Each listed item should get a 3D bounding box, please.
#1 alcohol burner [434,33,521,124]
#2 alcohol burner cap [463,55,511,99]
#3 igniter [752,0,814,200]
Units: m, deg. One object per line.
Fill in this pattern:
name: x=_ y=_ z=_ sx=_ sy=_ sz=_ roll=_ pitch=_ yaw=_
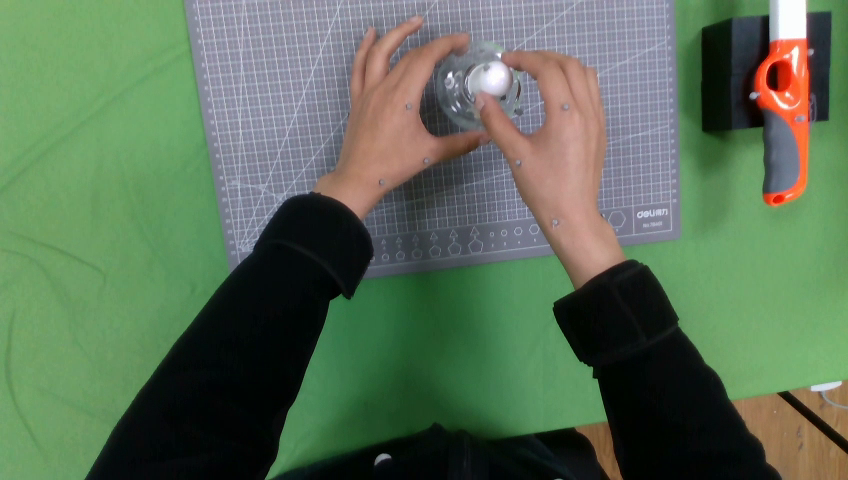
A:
alcohol burner: x=0.049 y=-0.138 z=0.516 sx=0.078 sy=0.118 sz=0.078 roll=-2 pitch=100 yaw=-9
alcohol burner cap: x=0.052 y=-0.132 z=0.486 sx=0.034 sy=0.047 sz=0.034 roll=-1 pitch=99 yaw=-9
igniter: x=0.324 y=-0.175 z=0.547 sx=0.057 sy=0.025 sz=0.277 roll=-4 pitch=97 yaw=-6
